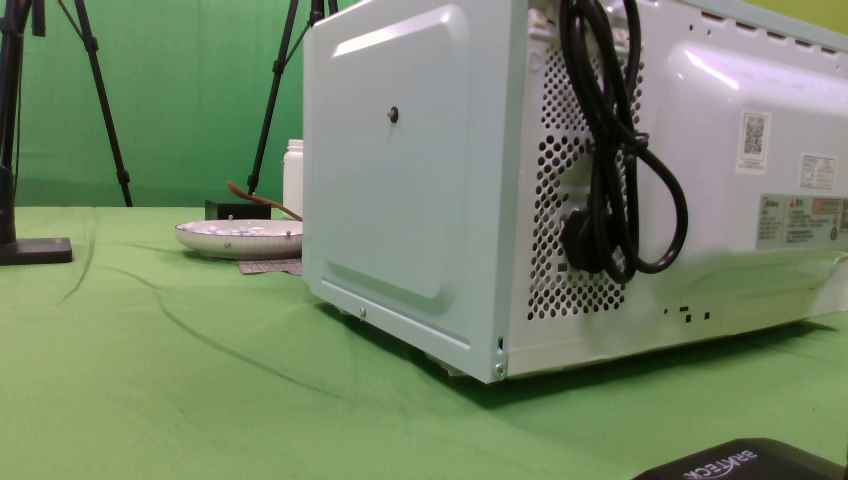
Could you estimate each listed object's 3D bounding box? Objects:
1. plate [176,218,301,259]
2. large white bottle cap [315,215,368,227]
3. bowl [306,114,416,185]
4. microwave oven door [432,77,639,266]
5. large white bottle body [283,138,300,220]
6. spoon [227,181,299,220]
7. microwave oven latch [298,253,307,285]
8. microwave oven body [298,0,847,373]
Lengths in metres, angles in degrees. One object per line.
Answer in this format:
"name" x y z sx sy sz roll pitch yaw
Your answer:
"plate" -0.248 -0.003 0.877 0.209 0.038 0.209 1 8 0
"large white bottle cap" -0.177 -0.041 1.309 0.115 0.018 0.115 2 6 0
"bowl" -0.087 -0.117 0.828 0.151 0.076 0.151 3 0 0
"microwave oven door" 0.145 -0.106 0.904 0.039 0.243 0.354 -4 9 -40
"large white bottle body" -0.265 -0.144 1.423 0.131 0.184 0.130 2 7 0
"spoon" -0.315 -0.074 1.235 0.195 0.021 0.041 24 -10 -37
"microwave oven latch" -0.081 0.027 0.582 0.079 0.029 0.030 -1 7 -32
"microwave oven body" 0.151 -0.055 0.542 0.444 0.260 0.324 -2 7 -33
